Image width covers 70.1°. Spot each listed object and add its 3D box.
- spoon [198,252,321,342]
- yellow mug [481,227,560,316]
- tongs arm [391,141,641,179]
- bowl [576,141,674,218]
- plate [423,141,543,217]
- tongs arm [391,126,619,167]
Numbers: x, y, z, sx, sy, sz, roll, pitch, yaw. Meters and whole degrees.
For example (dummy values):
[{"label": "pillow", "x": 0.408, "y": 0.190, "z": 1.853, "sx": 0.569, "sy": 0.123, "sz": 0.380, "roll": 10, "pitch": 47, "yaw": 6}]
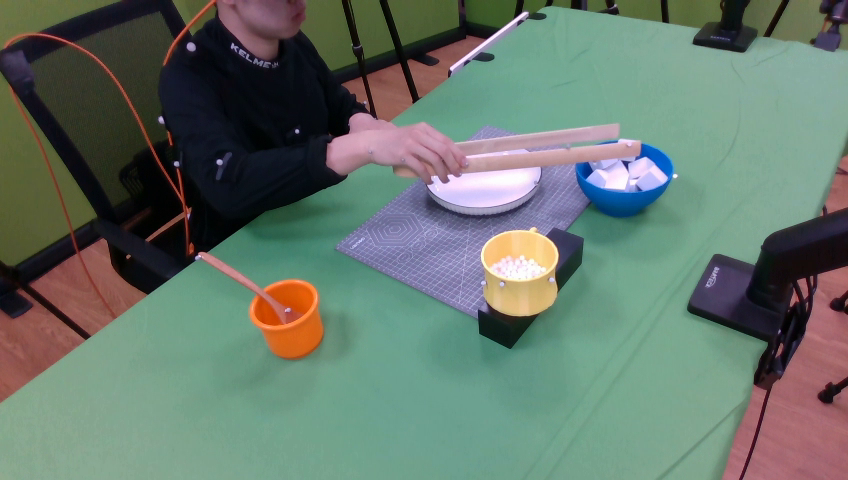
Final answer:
[{"label": "spoon", "x": -0.220, "y": 0.075, "z": 0.814, "sx": 0.021, "sy": 0.194, "sz": 0.041, "roll": -36, "pitch": 19, "yaw": 40}, {"label": "yellow mug", "x": 0.131, "y": 0.032, "z": 0.801, "sx": 0.099, "sy": 0.064, "sz": 0.131, "roll": 11, "pitch": 43, "yaw": 20}, {"label": "tongs arm", "x": 0.143, "y": -0.128, "z": 0.934, "sx": 0.386, "sy": 0.026, "sz": 0.050, "roll": -7, "pitch": 30, "yaw": -8}, {"label": "bowl", "x": 0.321, "y": -0.089, "z": 0.984, "sx": 0.151, "sy": 0.077, "sz": 0.150, "roll": -4, "pitch": 40, "yaw": 4}, {"label": "plate", "x": 0.103, "y": -0.103, "z": 1.059, "sx": 0.207, "sy": 0.039, "sz": 0.206, "roll": -4, "pitch": 40, "yaw": 4}, {"label": "tongs arm", "x": 0.136, "y": -0.149, "z": 0.973, "sx": 0.389, "sy": 0.028, "sz": 0.028, "roll": -8, "pitch": 34, "yaw": -10}]
